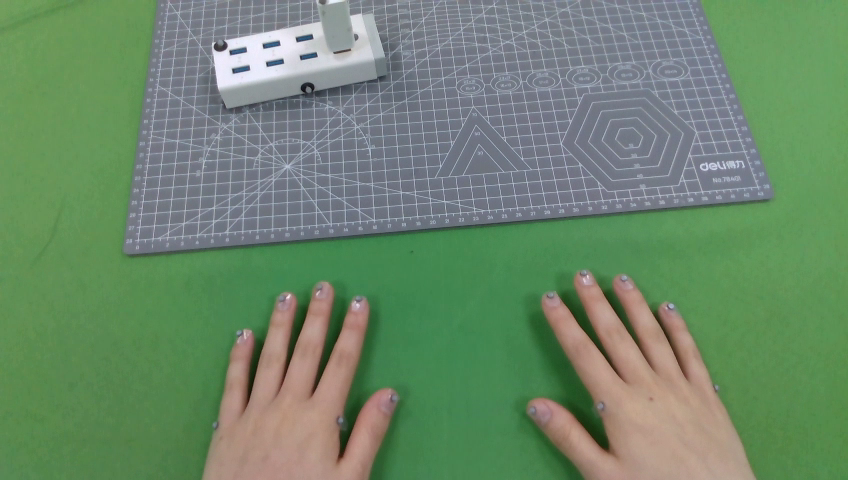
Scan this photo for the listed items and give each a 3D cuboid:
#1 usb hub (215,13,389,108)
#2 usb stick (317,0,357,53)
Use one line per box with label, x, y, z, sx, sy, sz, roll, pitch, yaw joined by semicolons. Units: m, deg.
usb hub;-0.093;-0.139;0.464;0.125;0.025;0.049;-13;65;-6
usb stick;-0.062;-0.157;0.437;0.021;0.059;0.027;-15;62;-6
